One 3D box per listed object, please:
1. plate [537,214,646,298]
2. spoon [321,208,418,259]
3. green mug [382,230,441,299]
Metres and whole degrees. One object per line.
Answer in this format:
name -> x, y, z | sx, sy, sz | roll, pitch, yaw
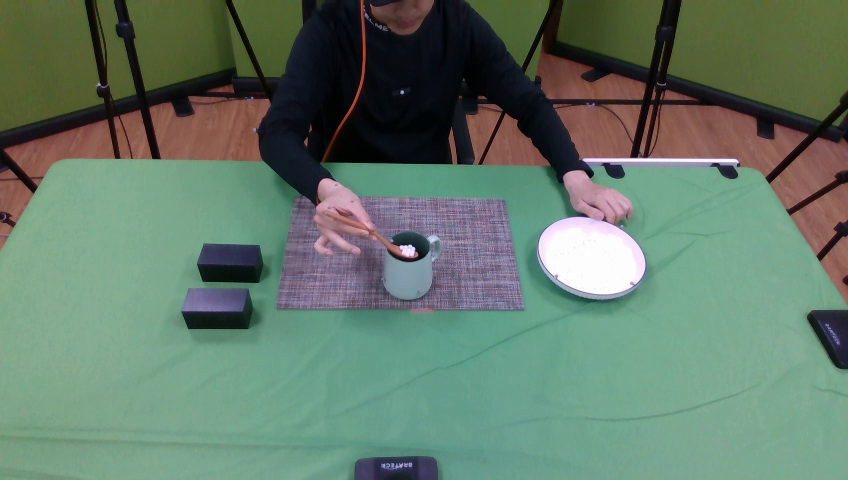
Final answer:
plate -> 0.321, 0.035, 1.176 | 0.209, 0.038, 0.208 | 2, 47, -2
spoon -> -0.089, -0.012, 1.019 | 0.195, 0.021, 0.041 | 31, 14, -31
green mug -> -0.017, 0.037, 1.097 | 0.125, 0.105, 0.092 | -34, 57, -31
